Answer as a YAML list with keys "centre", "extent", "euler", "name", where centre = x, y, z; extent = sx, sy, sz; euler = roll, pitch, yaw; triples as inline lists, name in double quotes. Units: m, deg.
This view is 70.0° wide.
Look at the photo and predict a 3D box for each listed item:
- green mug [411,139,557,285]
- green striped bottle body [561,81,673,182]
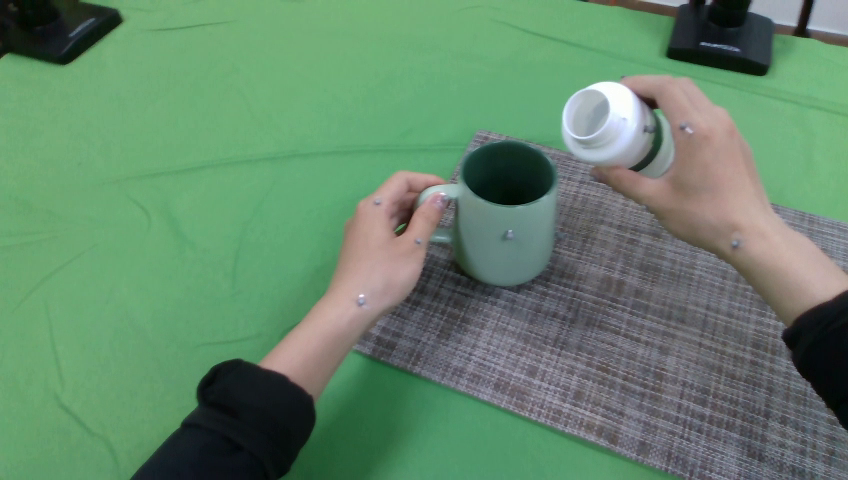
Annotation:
- centre: [0.051, -0.021, 0.520]
  extent: [0.125, 0.106, 0.091]
  euler: [-4, 51, 0]
  name: "green mug"
- centre: [0.154, -0.088, 0.489]
  extent: [0.062, 0.063, 0.120]
  euler: [45, 20, 32]
  name: "green striped bottle body"
